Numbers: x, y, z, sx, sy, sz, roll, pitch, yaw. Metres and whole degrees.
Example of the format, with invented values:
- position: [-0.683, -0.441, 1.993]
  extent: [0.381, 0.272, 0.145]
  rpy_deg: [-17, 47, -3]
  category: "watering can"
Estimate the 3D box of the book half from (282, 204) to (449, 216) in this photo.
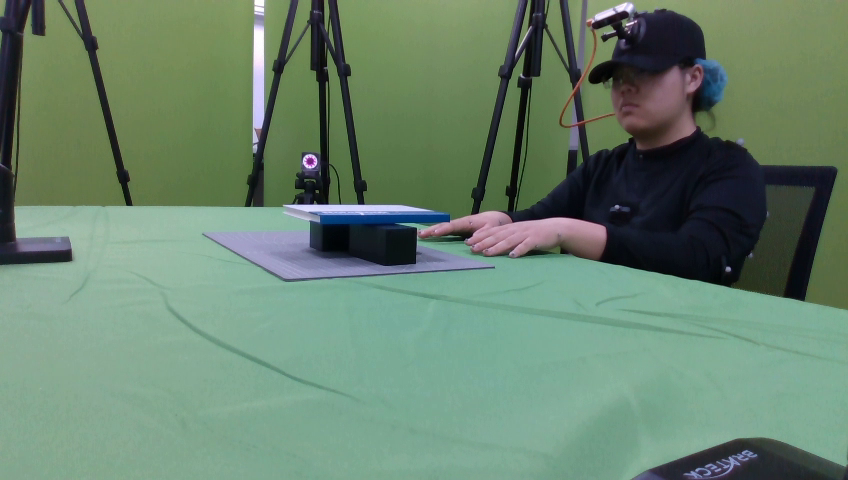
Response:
- position: [-0.088, -0.045, 0.907]
  extent: [0.211, 0.007, 0.142]
  rpy_deg: [-2, 9, -32]
  category: "book half"

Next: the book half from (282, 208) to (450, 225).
- position: [-0.086, -0.037, 0.905]
  extent: [0.211, 0.016, 0.148]
  rpy_deg: [-1, 9, -32]
  category: "book half"
